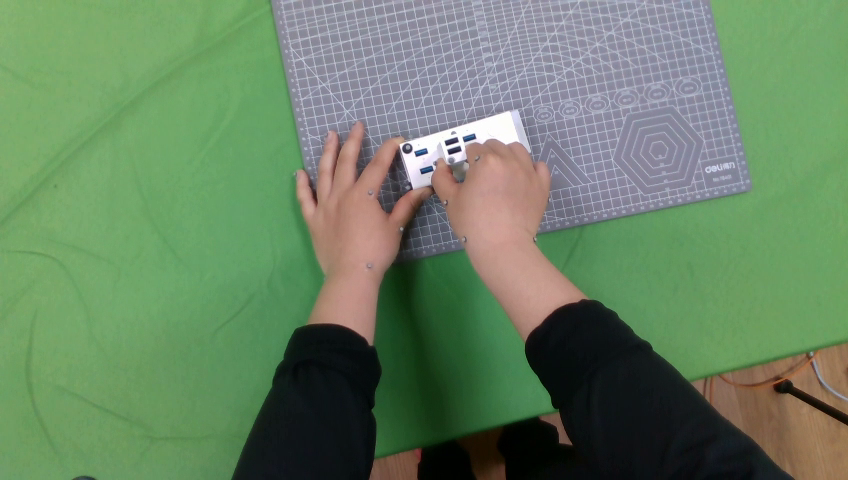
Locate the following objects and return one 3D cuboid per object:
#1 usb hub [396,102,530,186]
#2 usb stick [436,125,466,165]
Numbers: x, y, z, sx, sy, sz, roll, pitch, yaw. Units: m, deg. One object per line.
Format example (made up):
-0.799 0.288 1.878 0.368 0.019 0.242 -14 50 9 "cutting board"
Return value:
0.038 -0.097 0.604 0.125 0.025 0.049 -17 88 -5 "usb hub"
0.025 -0.088 0.572 0.021 0.059 0.027 -21 85 0 "usb stick"
